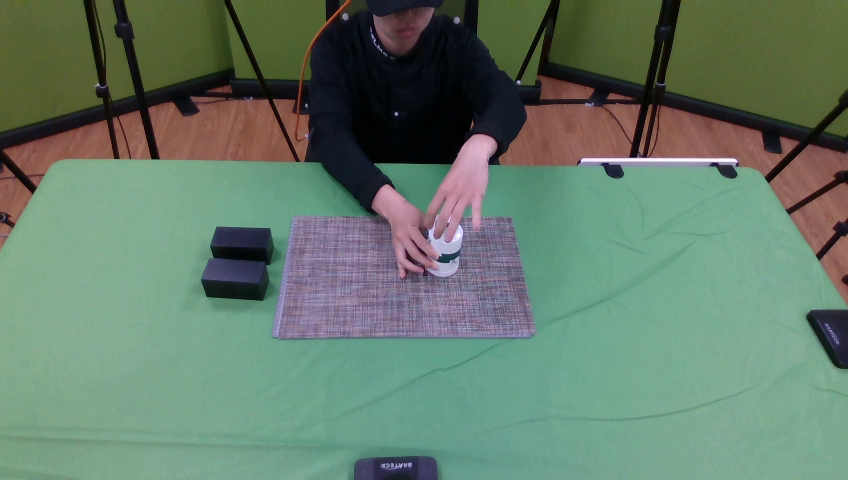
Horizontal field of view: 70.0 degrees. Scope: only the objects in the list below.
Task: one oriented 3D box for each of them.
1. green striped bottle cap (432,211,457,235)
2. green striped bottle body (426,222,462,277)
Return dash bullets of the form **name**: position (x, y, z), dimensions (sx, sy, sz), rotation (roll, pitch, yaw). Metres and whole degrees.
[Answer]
- **green striped bottle cap**: position (0.038, -0.031, 1.084), dimensions (0.044, 0.020, 0.044), rotation (4, 47, -4)
- **green striped bottle body**: position (0.037, 0.007, 1.121), dimensions (0.063, 0.120, 0.063), rotation (2, 46, -2)
